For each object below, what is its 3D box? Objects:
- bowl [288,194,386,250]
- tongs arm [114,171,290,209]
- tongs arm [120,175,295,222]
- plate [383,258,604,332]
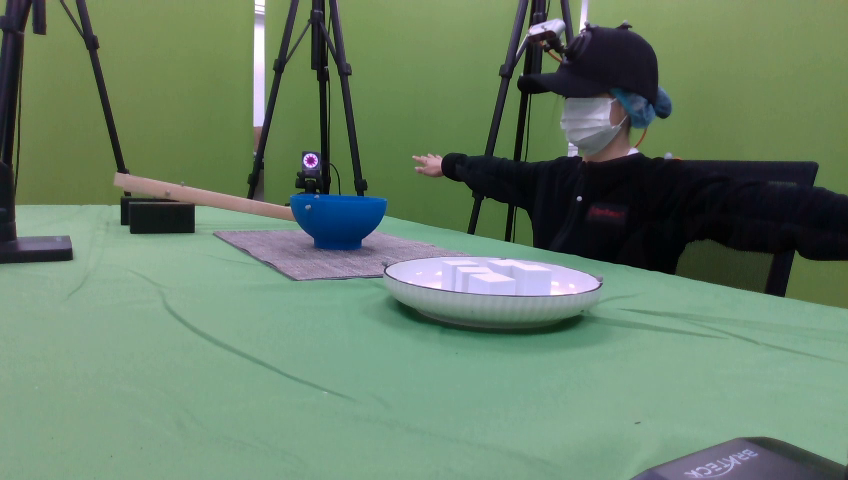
[{"bbox_3d":[-0.135,-0.027,0.936,0.151,0.077,0.151,3,7,0],"label":"bowl"},{"bbox_3d":[-0.394,-0.078,1.183,0.387,0.026,0.050,12,-1,-27],"label":"tongs arm"},{"bbox_3d":[-0.347,-0.066,1.108,0.390,0.027,0.028,11,-3,-42],"label":"tongs arm"},{"bbox_3d":[0.064,0.051,0.582,0.209,0.038,0.209,3,7,0],"label":"plate"}]
